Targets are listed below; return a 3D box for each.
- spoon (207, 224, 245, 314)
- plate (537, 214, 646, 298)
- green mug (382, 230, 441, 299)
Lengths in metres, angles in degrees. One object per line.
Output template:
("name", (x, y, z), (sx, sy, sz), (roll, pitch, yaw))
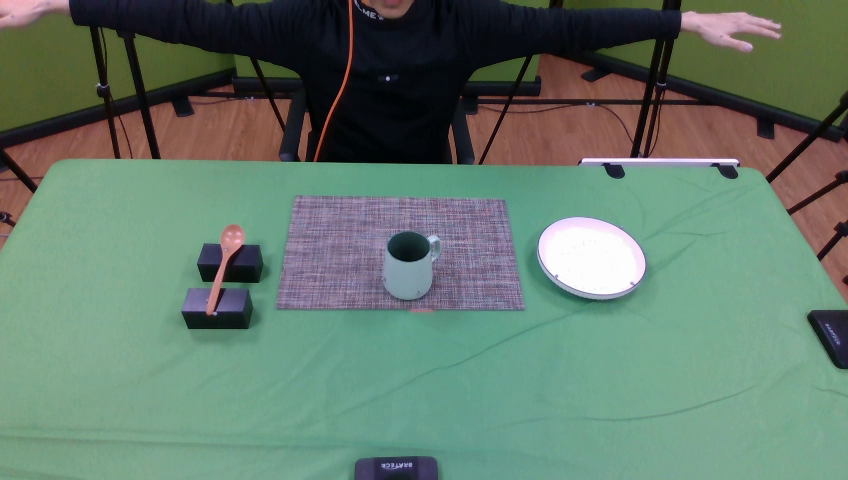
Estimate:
("spoon", (-0.350, 0.047, 1.055), (0.042, 0.022, 0.192), (15, 45, -14))
("plate", (0.321, 0.035, 1.176), (0.209, 0.038, 0.208), (2, 47, -2))
("green mug", (-0.017, 0.037, 1.097), (0.125, 0.105, 0.092), (-34, 57, -31))
